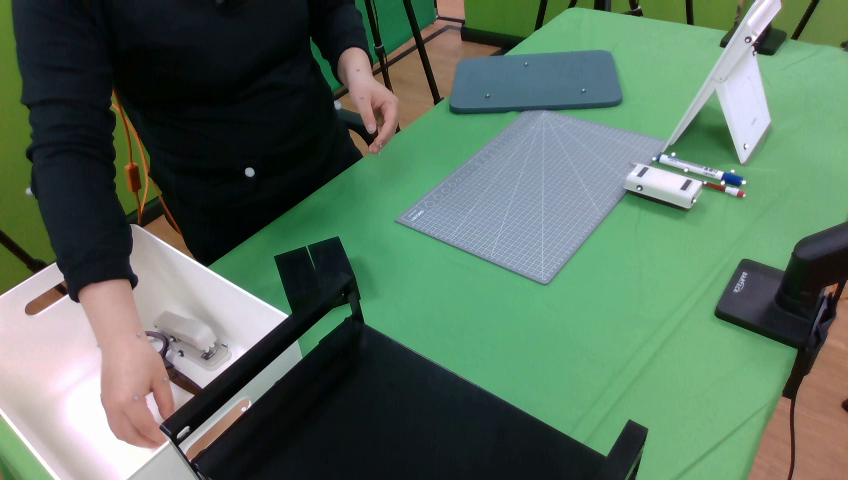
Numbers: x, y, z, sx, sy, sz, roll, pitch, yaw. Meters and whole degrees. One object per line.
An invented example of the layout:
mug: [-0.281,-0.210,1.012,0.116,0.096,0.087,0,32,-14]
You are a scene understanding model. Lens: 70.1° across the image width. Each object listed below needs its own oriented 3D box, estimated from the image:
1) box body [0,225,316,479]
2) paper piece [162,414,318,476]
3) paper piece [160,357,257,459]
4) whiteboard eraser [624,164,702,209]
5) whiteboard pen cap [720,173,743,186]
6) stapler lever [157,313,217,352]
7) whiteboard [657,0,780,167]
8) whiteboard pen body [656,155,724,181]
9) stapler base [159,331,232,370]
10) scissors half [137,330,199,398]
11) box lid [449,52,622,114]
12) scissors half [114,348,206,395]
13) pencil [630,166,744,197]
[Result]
box body: [-0.339,0.162,0.728,0.361,0.161,0.255,23,48,31]
paper piece: [-0.230,0.236,0.759,0.137,0.008,0.137,33,37,29]
paper piece: [-0.232,0.218,0.748,0.134,0.004,0.136,25,51,32]
whiteboard eraser: [0.396,-0.087,1.003,0.112,0.042,0.056,22,48,31]
whiteboard pen cap: [0.519,-0.103,1.020,0.033,0.018,0.018,23,49,30]
stapler lever: [-0.331,0.122,0.839,0.117,0.040,0.027,16,41,33]
whiteboard: [0.571,-0.272,1.038,0.143,0.306,0.218,37,54,17]
whiteboard pen body: [0.475,-0.123,1.052,0.139,0.017,0.017,24,50,32]
stapler base: [-0.326,0.143,0.853,0.129,0.024,0.041,16,40,33]
scissors half: [-0.336,0.172,0.822,0.040,0.013,0.174,-35,52,-30]
box lid: [0.249,-0.358,1.370,0.371,0.015,0.262,-1,40,9]
scissors half: [-0.349,0.185,0.810,0.174,0.013,0.040,15,51,19]
pencil: [0.447,-0.103,1.039,0.192,0.012,0.012,21,48,30]
